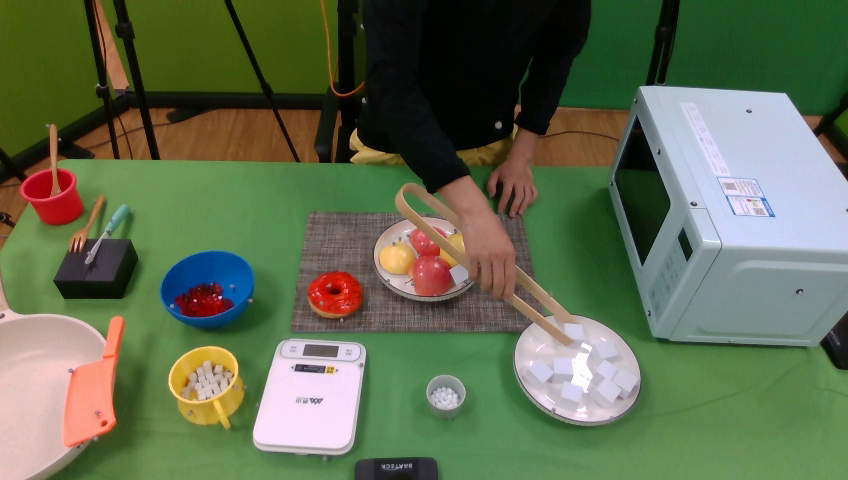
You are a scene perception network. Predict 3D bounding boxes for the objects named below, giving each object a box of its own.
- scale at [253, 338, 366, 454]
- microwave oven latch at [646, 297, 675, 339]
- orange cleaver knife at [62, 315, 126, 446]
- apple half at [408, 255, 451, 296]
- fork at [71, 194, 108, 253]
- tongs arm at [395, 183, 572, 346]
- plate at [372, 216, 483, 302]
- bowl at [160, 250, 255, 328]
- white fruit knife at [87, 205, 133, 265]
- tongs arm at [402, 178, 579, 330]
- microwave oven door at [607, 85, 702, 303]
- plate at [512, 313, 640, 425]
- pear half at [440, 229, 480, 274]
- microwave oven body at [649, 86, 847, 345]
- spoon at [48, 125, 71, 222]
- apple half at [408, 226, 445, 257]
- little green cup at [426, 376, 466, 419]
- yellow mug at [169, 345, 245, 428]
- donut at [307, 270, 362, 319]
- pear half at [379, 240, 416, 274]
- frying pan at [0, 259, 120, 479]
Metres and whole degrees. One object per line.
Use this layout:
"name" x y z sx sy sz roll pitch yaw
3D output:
"scale" -0.175 0.236 0.951 0.149 0.032 0.199 4 45 -1
"microwave oven latch" 0.412 0.134 1.061 0.030 0.029 0.078 4 45 1
"orange cleaver knife" -0.480 0.199 0.887 0.077 0.012 0.210 -9 47 -8
"apple half" 0.012 0.058 1.103 0.075 0.053 0.080 -6 44 -14
"fork" -0.634 -0.036 1.158 0.028 0.019 0.206 -8 31 -8
"tongs arm" 0.097 0.046 1.008 0.388 0.028 0.028 41 52 -3
"plate" 0.006 0.038 1.145 0.209 0.038 0.208 2 46 -2
"bowl" -0.362 0.098 1.039 0.151 0.077 0.150 2 45 -2
"white fruit knife" -0.584 -0.013 1.129 0.016 0.027 0.206 -1 31 -4
"tongs arm" 0.110 0.029 1.027 0.385 0.026 0.050 44 48 -1
"microwave oven door" 0.423 -0.094 1.140 0.039 0.245 0.353 2 46 -1
"plate" 0.246 0.213 0.999 0.208 0.039 0.206 2 46 -2
"pear half" 0.065 0.007 1.150 0.076 0.056 0.109 -11 43 -1
"microwave oven body" 0.567 -0.053 1.118 0.326 0.261 0.439 2 45 -1
"spoon" -0.718 -0.131 1.188 0.041 0.021 0.193 -3 90 -7
"apple half" 0.010 -0.006 1.176 0.081 0.033 0.081 3 53 -3
"little green cup" 0.033 0.248 0.950 0.061 0.039 0.061 2 46 -2
"yellow mug" -0.322 0.230 0.922 0.100 0.064 0.130 -24 53 -25
"donut" -0.158 0.096 1.073 0.099 0.048 0.098 4 46 -4
"pear half" -0.048 0.024 1.146 0.070 0.031 0.087 12 47 -12
"frying pan" -0.647 0.164 0.936 0.307 0.103 0.485 -19 58 -22
